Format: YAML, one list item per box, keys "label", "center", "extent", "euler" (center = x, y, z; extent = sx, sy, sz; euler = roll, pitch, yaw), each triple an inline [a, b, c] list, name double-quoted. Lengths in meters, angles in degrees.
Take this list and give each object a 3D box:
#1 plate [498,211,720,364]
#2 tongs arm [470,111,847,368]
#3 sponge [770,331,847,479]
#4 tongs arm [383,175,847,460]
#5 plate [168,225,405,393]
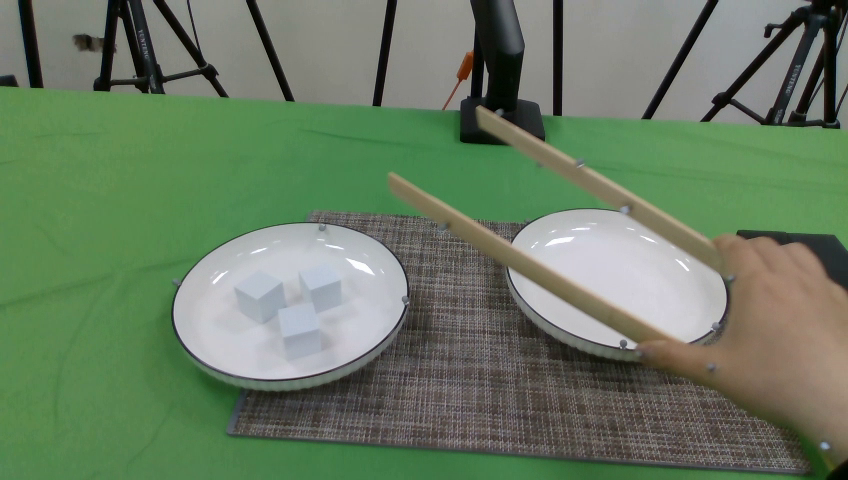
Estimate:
- label: "plate"
  center: [0.175, 0.046, 0.595]
  extent: [0.208, 0.039, 0.205]
  euler: [2, 38, -1]
- label: "tongs arm"
  center: [0.157, 0.002, 0.443]
  extent: [0.051, 0.027, 0.381]
  euler: [-38, 56, -23]
- label: "sponge"
  center: [0.367, 0.162, 0.445]
  extent: [0.118, 0.061, 0.205]
  euler: [1, 39, -2]
- label: "tongs arm"
  center: [0.115, 0.037, 0.421]
  extent: [0.384, 0.028, 0.028]
  euler: [30, 56, 28]
- label: "plate"
  center: [-0.121, 0.061, 0.556]
  extent: [0.209, 0.038, 0.207]
  euler: [2, 38, -1]
